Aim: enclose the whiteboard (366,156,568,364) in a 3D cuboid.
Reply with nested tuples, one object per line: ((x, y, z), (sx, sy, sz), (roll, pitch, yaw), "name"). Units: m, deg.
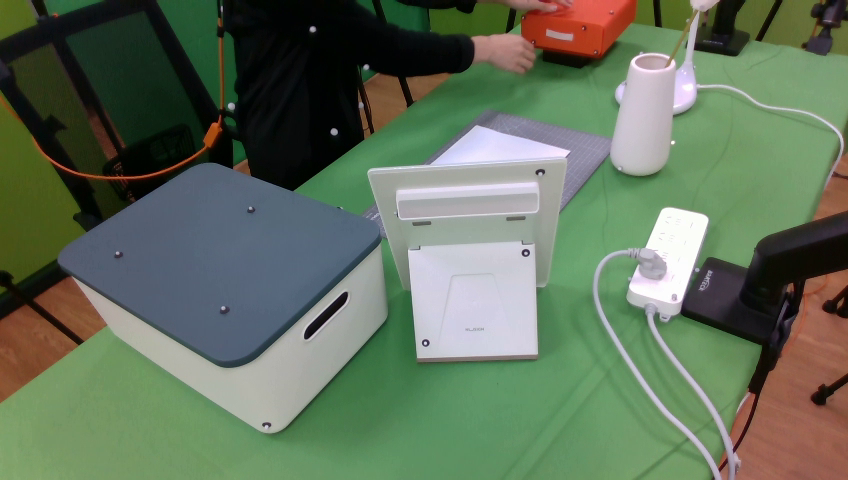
((0.059, 0.050, 0.738), (0.217, 0.307, 0.143), (-2, 60, 6), "whiteboard")

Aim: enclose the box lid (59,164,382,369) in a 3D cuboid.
((-0.263, 0.010, 0.777), (0.368, 0.015, 0.264), (20, 47, 29), "box lid")

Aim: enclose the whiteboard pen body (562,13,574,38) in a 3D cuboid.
((0.342, -0.506, 1.430), (0.017, 0.017, 0.140), (-2, 40, 6), "whiteboard pen body")

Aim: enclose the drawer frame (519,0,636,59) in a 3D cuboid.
((0.362, -0.518, 1.423), (0.200, 0.083, 0.214), (19, 48, 29), "drawer frame")

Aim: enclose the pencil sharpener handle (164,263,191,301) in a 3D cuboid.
((-0.354, 0.055, 0.866), (0.036, 0.068, 0.030), (-17, 39, -29), "pencil sharpener handle")

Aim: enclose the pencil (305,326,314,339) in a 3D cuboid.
((-0.187, 0.106, 0.880), (0.012, 0.012, 0.192), (-27, 42, -22), "pencil")

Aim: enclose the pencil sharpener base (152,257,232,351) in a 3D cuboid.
((-0.322, 0.088, 0.841), (0.061, 0.107, 0.076), (-28, 44, -20), "pencil sharpener base")

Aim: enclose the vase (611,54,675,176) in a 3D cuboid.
((0.377, -0.209, 1.031), (0.098, 0.201, 0.097), (-3, 40, 3), "vase")

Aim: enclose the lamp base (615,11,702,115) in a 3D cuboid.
((0.484, -0.364, 1.211), (0.180, 0.181, 0.159), (-15, 41, -13), "lamp base")

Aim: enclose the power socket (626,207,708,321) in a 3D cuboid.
((0.360, 0.025, 0.886), (0.072, 0.033, 0.227), (16, 46, 26), "power socket")

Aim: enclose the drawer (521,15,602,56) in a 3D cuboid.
((0.360, -0.516, 1.417), (0.193, 0.073, 0.212), (20, 46, 29), "drawer")

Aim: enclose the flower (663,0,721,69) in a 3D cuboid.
((0.379, -0.261, 0.965), (0.044, 0.362, 0.038), (20, 52, 5), "flower")

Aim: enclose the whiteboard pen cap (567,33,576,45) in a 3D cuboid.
((0.339, -0.463, 1.390), (0.018, 0.018, 0.033), (-2, 43, 6), "whiteboard pen cap")

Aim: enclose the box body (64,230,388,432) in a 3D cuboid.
((-0.256, 0.065, 0.827), (0.361, 0.161, 0.255), (20, 48, 29), "box body")

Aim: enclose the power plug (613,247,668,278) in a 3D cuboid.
((0.306, 0.031, 0.851), (0.072, 0.053, 0.035), (24, 49, 34), "power plug")

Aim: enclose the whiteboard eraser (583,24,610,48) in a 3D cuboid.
((0.407, -0.479, 1.424), (0.055, 0.042, 0.113), (-2, 9, 20), "whiteboard eraser")
